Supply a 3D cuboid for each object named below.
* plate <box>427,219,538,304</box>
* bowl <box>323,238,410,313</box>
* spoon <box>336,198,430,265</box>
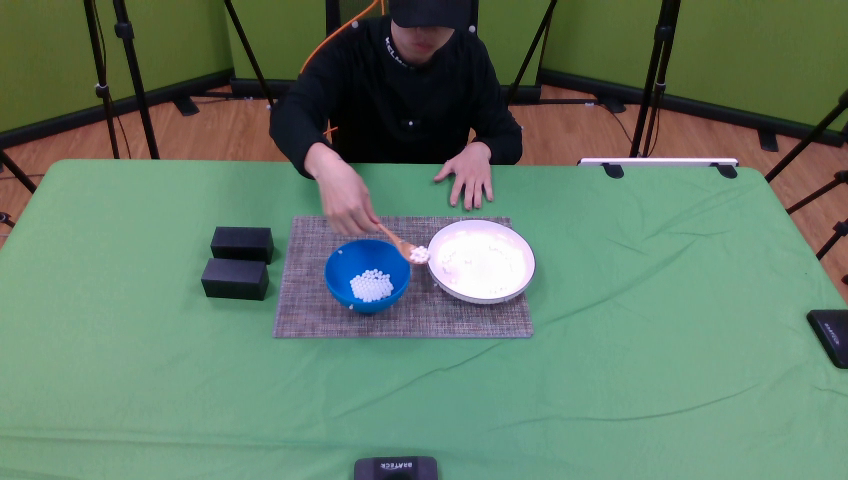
[{"bbox_3d":[0.109,0.044,1.149,0.208,0.039,0.206,2,46,-2],"label":"plate"},{"bbox_3d":[-0.101,0.077,1.073,0.151,0.077,0.150,3,46,-2],"label":"bowl"},{"bbox_3d":[-0.072,-0.018,1.046,0.193,0.022,0.041,38,45,1],"label":"spoon"}]
